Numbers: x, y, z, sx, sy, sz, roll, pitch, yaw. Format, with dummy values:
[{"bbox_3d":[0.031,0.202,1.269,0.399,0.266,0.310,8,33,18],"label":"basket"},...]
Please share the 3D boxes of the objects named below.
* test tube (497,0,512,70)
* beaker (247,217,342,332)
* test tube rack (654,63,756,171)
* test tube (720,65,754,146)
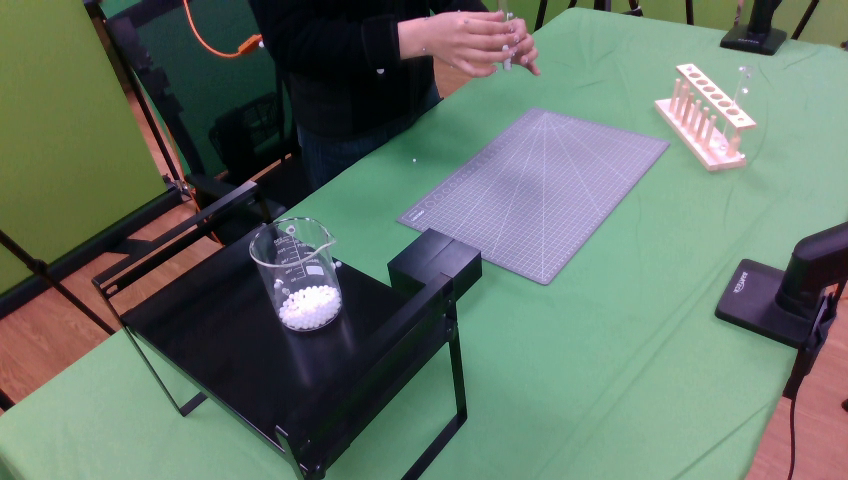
[{"bbox_3d":[0.129,-0.334,0.968,0.017,0.151,0.017,-6,54,8],"label":"test tube"},{"bbox_3d":[-0.124,0.037,0.614,0.084,0.101,0.073,-7,41,0],"label":"beaker"},{"bbox_3d":[0.510,-0.233,1.120,0.067,0.085,0.241,-8,41,-1],"label":"test tube rack"},{"bbox_3d":[0.533,-0.226,1.032,0.017,0.151,0.017,-2,40,2],"label":"test tube"}]
